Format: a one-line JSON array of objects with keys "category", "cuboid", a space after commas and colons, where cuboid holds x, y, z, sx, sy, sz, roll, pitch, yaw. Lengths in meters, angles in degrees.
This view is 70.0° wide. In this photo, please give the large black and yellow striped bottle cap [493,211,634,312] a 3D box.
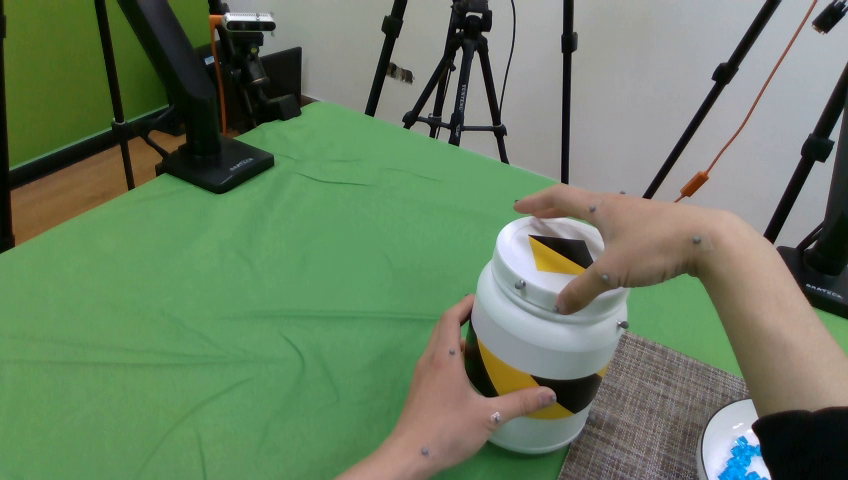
[{"category": "large black and yellow striped bottle cap", "cuboid": [0.115, 0.015, 0.501, 0.115, 0.019, 0.114, 5, 36, -3]}]

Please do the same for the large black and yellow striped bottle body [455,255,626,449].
[{"category": "large black and yellow striped bottle body", "cuboid": [0.104, 0.084, 0.551, 0.131, 0.185, 0.129, 6, 36, -4]}]

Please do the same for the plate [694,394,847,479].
[{"category": "plate", "cuboid": [0.336, 0.227, 0.525, 0.208, 0.039, 0.205, 6, 35, -4]}]
